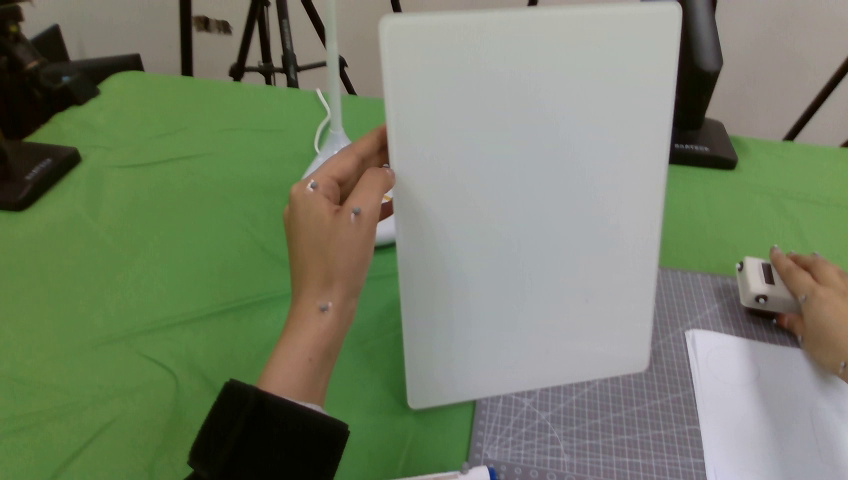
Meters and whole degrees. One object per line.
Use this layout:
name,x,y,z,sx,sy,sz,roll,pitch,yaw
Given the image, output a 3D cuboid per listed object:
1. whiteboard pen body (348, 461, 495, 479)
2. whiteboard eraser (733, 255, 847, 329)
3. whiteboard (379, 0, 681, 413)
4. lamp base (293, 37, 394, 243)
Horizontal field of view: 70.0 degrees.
whiteboard pen body,-0.018,0.175,0.435,0.141,0.017,0.017,-4,40,-10
whiteboard eraser,0.363,0.051,0.589,0.112,0.042,0.055,11,47,10
whiteboard,0.072,-0.036,0.521,0.218,0.307,0.142,-7,21,-9
lamp base,-0.076,-0.115,0.661,0.161,0.182,0.177,-26,45,-29
